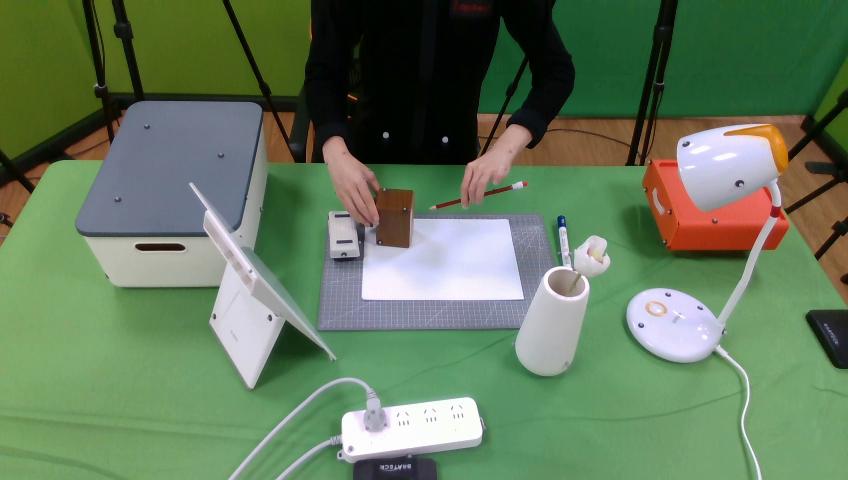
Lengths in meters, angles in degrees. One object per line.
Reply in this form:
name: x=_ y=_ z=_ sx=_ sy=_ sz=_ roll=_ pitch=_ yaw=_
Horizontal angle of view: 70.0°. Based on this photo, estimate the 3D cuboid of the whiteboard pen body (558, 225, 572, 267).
whiteboard pen body: x=0.280 y=0.010 z=1.207 sx=0.017 sy=0.017 sz=0.140 roll=3 pitch=50 yaw=-1

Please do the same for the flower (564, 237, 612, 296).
flower: x=0.206 y=0.088 z=0.893 sx=0.038 sy=0.363 sz=0.044 roll=-17 pitch=67 yaw=-9

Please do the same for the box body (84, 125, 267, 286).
box body: x=-0.446 y=-0.088 z=1.150 sx=0.254 sy=0.161 sz=0.361 roll=-1 pitch=46 yaw=-5

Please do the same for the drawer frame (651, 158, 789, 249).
drawer frame: x=0.571 y=-0.075 z=1.214 sx=0.214 sy=0.083 sz=0.200 roll=0 pitch=45 yaw=-1

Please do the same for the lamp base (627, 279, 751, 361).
lamp base: x=0.459 y=0.100 z=1.027 sx=0.178 sy=0.181 sz=0.160 roll=27 pitch=51 yaw=17

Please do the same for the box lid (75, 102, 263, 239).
box lid: x=-0.443 y=-0.138 z=1.094 sx=0.263 sy=0.015 sz=0.369 roll=-1 pitch=47 yaw=-5

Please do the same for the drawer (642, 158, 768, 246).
drawer: x=0.565 y=-0.076 z=1.211 sx=0.212 sy=0.073 sz=0.193 roll=2 pitch=45 yaw=-2

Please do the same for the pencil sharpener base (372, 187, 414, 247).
pencil sharpener base: x=-0.060 y=-0.043 z=1.171 sx=0.077 sy=0.107 sz=0.061 roll=5 pitch=46 yaw=1

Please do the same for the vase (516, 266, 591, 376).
vase: x=0.208 y=0.132 z=0.964 sx=0.098 sy=0.201 sz=0.097 roll=3 pitch=46 yaw=-3

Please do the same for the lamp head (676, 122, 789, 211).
lamp head: x=0.423 y=-0.104 z=0.819 sx=0.122 sy=0.113 sz=0.112 roll=-13 pitch=33 yaw=40

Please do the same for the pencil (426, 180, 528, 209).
pencil: x=0.097 y=-0.082 z=1.115 sx=0.194 sy=0.012 sz=0.012 roll=-14 pitch=48 yaw=1

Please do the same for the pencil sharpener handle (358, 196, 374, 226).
pencil sharpener handle: x=-0.111 y=-0.054 z=1.161 sx=0.030 sy=0.068 sz=0.036 roll=5 pitch=38 yaw=1

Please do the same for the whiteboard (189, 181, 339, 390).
whiteboard: x=-0.292 y=0.096 z=0.929 sx=0.144 sy=0.307 sz=0.216 roll=-37 pitch=57 yaw=-10

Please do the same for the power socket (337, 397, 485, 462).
power socket: x=-0.018 y=0.285 z=0.915 sx=0.227 sy=0.033 sz=0.071 roll=-5 pitch=46 yaw=-8

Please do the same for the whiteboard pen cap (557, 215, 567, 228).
whiteboard pen cap: x=0.285 y=-0.034 z=1.245 sx=0.018 sy=0.018 sz=0.033 roll=3 pitch=51 yaw=-1

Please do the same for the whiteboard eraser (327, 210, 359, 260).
whiteboard eraser: x=-0.159 y=-0.009 z=1.177 sx=0.055 sy=0.042 sz=0.112 roll=-6 pitch=47 yaw=-7

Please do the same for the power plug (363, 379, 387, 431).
power plug: x=-0.072 y=0.252 z=0.910 sx=0.035 sy=0.053 sz=0.072 roll=3 pitch=45 yaw=-1
